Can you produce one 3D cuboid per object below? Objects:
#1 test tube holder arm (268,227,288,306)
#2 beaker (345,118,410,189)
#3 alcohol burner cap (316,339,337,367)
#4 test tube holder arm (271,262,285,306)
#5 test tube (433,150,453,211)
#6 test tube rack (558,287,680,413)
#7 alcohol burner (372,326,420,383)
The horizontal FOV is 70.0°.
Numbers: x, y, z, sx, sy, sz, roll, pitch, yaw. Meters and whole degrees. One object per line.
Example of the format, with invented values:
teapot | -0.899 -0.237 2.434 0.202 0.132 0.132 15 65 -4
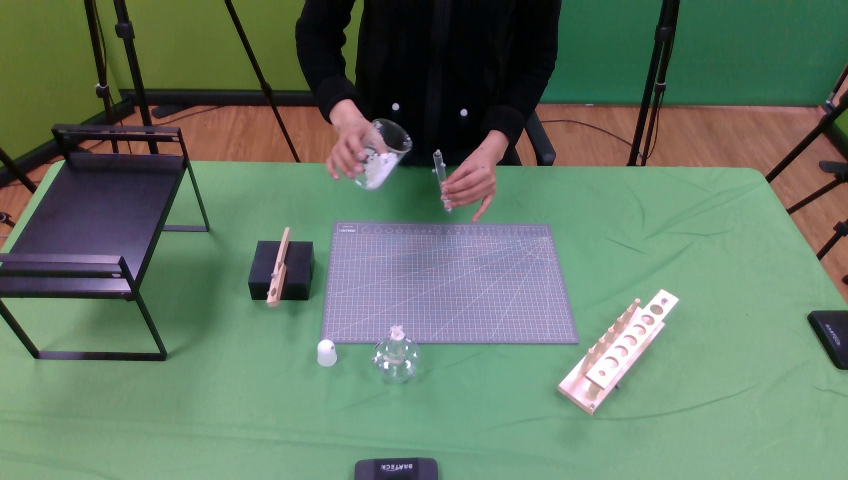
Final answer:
test tube holder arm | -0.258 0.043 1.071 0.013 0.015 0.177 -6 46 1
beaker | -0.078 -0.138 0.992 0.084 0.100 0.073 2 52 -38
alcohol burner cap | -0.161 0.182 0.995 0.034 0.048 0.033 2 47 -2
test tube holder arm | -0.250 0.075 1.039 0.010 0.015 0.087 -5 46 2
test tube | 0.035 -0.104 1.093 0.017 0.151 0.017 -6 51 8
test tube rack | 0.326 0.170 1.009 0.066 0.085 0.242 36 54 27
alcohol burner | -0.045 0.175 0.961 0.078 0.120 0.077 1 47 -1
